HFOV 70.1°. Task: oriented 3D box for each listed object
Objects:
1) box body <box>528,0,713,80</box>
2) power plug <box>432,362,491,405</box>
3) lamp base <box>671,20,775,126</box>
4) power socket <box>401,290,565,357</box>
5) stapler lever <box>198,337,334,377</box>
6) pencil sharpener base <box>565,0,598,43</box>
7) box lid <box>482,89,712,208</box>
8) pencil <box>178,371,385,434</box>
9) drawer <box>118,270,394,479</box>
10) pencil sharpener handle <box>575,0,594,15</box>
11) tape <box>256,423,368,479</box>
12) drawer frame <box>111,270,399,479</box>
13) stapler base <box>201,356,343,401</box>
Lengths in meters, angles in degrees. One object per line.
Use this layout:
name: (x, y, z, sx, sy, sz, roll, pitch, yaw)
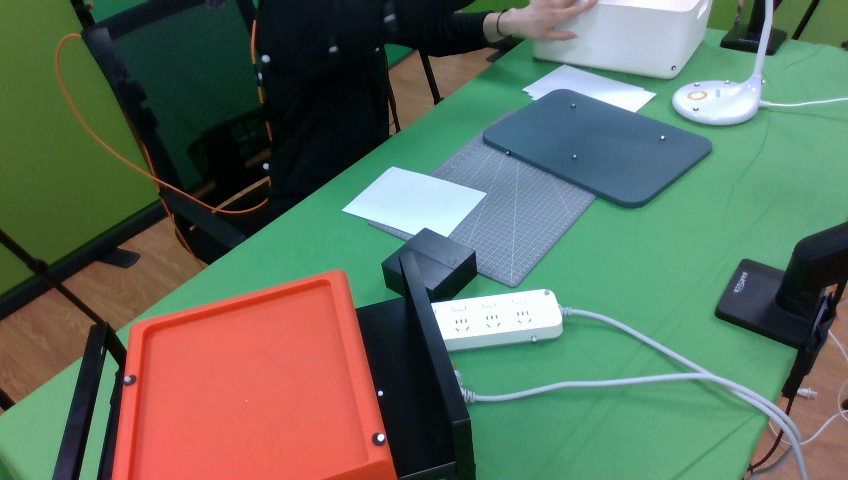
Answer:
box body: (0.451, -0.513, 1.398, 0.361, 0.161, 0.254, 19, 47, 28)
power plug: (0.044, 0.182, 0.759, 0.073, 0.035, 0.052, 23, 41, -19)
lamp base: (0.582, -0.332, 1.153, 0.179, 0.181, 0.160, 2, 42, 7)
power socket: (0.080, 0.113, 0.821, 0.227, 0.033, 0.072, -6, 41, 0)
stapler lever: (-0.142, 0.105, 0.541, 0.118, 0.040, 0.026, -3, 43, 4)
pencil sharpener base: (0.387, -0.551, 1.484, 0.061, 0.107, 0.077, 13, 44, 23)
box lid: (0.320, -0.190, 1.156, 0.264, 0.015, 0.368, -33, 47, -28)
pencil: (-0.128, 0.141, 0.534, 0.194, 0.012, 0.012, 14, 44, 7)
drawer: (-0.141, 0.139, 0.509, 0.195, 0.073, 0.210, -14, 42, -8)
pencil sharpener handle: (0.401, -0.595, 1.512, 0.036, 0.067, 0.030, 35, 48, 0)
tape: (-0.121, 0.262, 0.660, 0.117, 0.053, 0.116, -4, 40, 4)
drawer frame: (-0.140, 0.140, 0.506, 0.202, 0.083, 0.212, -15, 41, -9)
stapler base: (-0.142, 0.124, 0.557, 0.130, 0.024, 0.041, -2, 43, 3)
